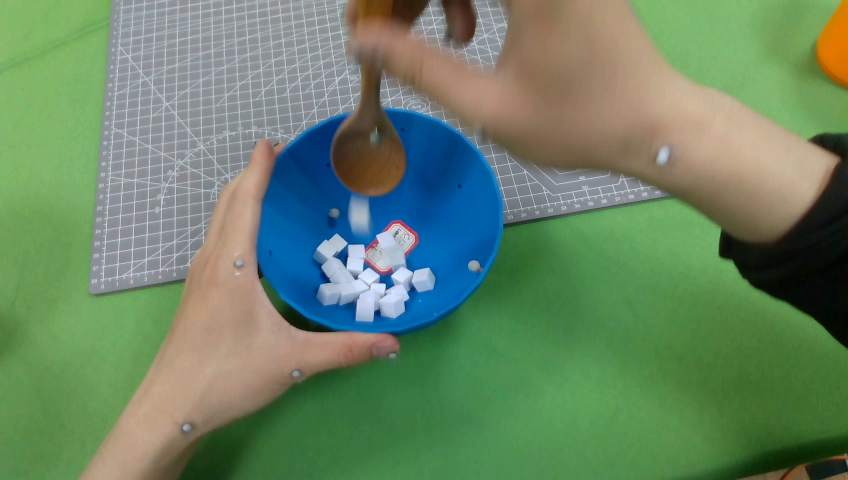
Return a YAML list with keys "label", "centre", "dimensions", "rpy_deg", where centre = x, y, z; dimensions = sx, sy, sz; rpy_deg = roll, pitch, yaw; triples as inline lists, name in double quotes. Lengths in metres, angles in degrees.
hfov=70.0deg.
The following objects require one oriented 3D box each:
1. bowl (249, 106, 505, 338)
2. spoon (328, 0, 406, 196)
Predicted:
- label: "bowl"
  centre: [-0.027, -0.002, 0.391]
  dimensions: [0.151, 0.077, 0.150]
  rpy_deg: [0, 66, 1]
- label: "spoon"
  centre: [-0.023, -0.066, 0.259]
  dimensions: [0.042, 0.194, 0.021]
  rpy_deg: [8, 71, -3]
